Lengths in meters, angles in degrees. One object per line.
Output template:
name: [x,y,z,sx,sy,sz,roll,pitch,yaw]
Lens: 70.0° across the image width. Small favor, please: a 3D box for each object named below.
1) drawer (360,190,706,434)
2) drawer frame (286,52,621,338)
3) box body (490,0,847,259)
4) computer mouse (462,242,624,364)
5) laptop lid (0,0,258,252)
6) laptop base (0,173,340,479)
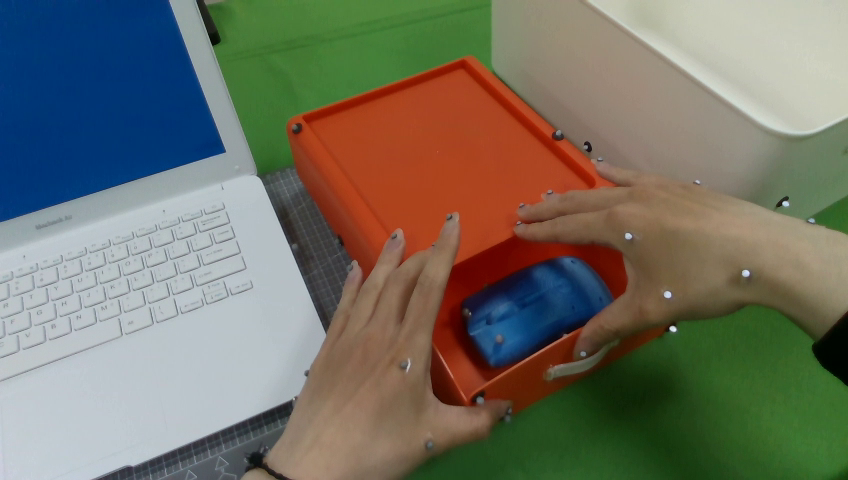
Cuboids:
drawer: [0.065,0.012,0.473,0.195,0.074,0.209,-24,53,-17]
drawer frame: [0.018,-0.051,0.523,0.202,0.083,0.211,-26,55,-19]
box body: [0.252,-0.180,0.571,0.254,0.162,0.360,-25,54,-17]
computer mouse: [0.088,0.045,0.456,0.117,0.041,0.062,-23,58,-4]
laptop lid: [-0.343,-0.105,0.490,0.357,0.243,0.013,-22,24,-14]
laptop base: [-0.266,0.080,0.470,0.355,0.023,0.233,-21,57,-15]
